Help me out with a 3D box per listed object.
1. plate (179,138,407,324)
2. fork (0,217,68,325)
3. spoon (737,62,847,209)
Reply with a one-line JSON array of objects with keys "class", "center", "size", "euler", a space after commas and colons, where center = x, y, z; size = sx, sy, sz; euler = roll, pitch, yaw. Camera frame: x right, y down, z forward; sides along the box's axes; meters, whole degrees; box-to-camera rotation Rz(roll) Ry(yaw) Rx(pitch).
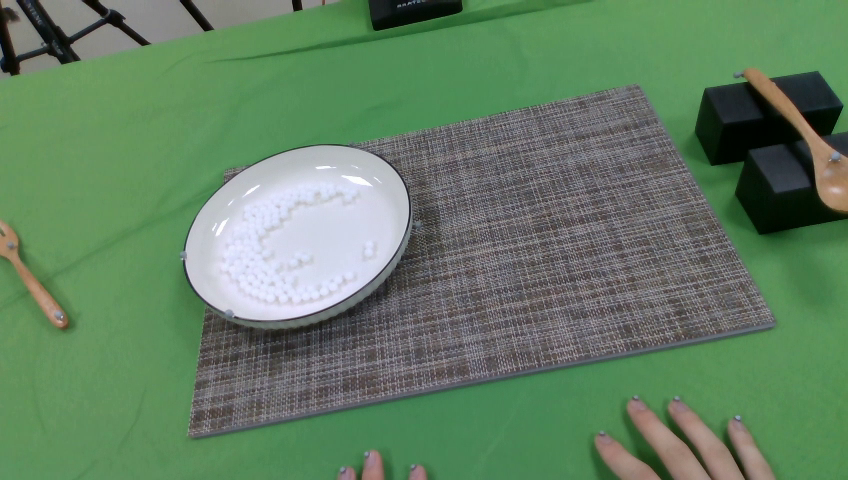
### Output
[{"class": "plate", "center": [-0.115, -0.009, 0.553], "size": [0.207, 0.039, 0.205], "euler": [-5, 51, 7]}, {"class": "fork", "center": [-0.399, 0.025, 0.600], "size": [0.205, 0.019, 0.028], "euler": [32, 58, 33]}, {"class": "spoon", "center": [0.300, -0.092, 0.484], "size": [0.041, 0.022, 0.191], "euler": [-26, 47, 19]}]
